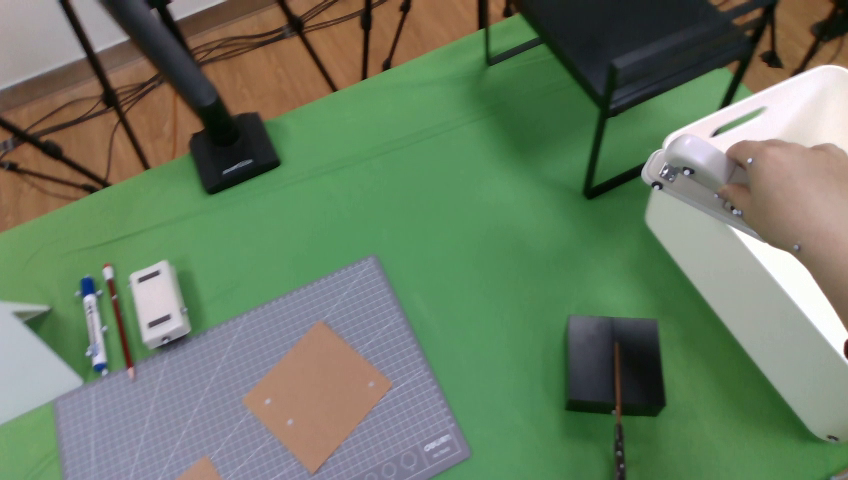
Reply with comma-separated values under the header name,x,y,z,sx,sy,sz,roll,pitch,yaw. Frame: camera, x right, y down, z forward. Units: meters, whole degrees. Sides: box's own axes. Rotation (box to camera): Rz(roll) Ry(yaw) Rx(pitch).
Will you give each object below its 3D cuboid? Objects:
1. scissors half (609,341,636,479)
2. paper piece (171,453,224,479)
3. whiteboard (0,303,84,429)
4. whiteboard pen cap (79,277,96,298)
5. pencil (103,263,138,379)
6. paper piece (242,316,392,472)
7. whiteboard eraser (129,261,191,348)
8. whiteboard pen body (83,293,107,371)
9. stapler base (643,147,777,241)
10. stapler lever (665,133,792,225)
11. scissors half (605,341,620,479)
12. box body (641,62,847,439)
name,x,y,z,sx,sy,sz,roll,pitch,yaw
scissors half,0.206,0.191,0.639,0.013,0.040,0.173,1,63,0
paper piece,-0.267,0.332,0.673,0.135,0.004,0.134,-38,64,-15
whiteboard,-0.594,0.089,0.718,0.217,0.309,0.142,-25,41,-7
whiteboard pen cap,-0.469,0.068,0.845,0.018,0.018,0.033,-26,59,-8
pencil,-0.411,0.107,0.821,0.012,0.012,0.192,-28,61,-9
paper piece,-0.133,0.184,0.742,0.137,0.009,0.136,37,75,22
whiteboard eraser,-0.352,0.086,0.808,0.055,0.042,0.111,-26,61,-7
whiteboard pen body,-0.446,0.113,0.817,0.017,0.017,0.139,-24,60,-7
stapler base,0.272,-0.048,0.563,0.130,0.024,0.041,30,78,10
stapler lever,0.272,-0.056,0.539,0.117,0.040,0.027,30,78,10
scissors half,0.206,0.198,0.657,0.013,0.040,0.174,3,80,-4
box body,0.453,0.007,0.685,0.254,0.162,0.360,-25,61,-7
